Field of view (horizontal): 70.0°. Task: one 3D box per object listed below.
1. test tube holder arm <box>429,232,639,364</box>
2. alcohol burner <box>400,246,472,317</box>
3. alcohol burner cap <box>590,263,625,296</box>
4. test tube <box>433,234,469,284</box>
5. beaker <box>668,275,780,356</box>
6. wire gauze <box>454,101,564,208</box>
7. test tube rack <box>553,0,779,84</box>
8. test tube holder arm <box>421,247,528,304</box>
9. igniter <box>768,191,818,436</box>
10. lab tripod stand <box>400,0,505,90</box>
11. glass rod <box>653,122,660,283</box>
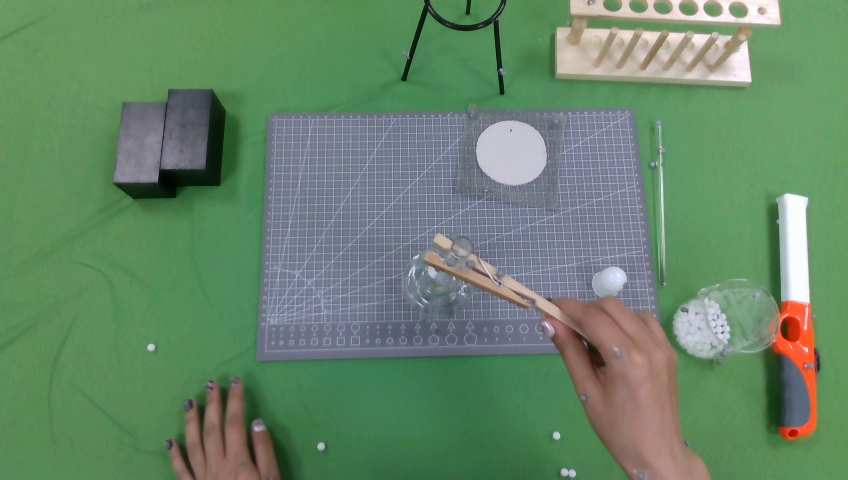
[{"bbox_3d":[0.081,0.043,0.456,0.178,0.015,0.013,30,84,4],"label":"test tube holder arm"},{"bbox_3d":[0.013,0.039,0.635,0.078,0.120,0.077,0,73,1],"label":"alcohol burner"},{"bbox_3d":[0.206,0.042,0.674,0.034,0.048,0.033,0,75,0],"label":"alcohol burner cap"},{"bbox_3d":[0.019,0.018,0.480,0.017,0.150,0.017,1,78,-3],"label":"test tube"},{"bbox_3d":[0.306,0.082,0.639,0.084,0.101,0.074,30,76,8],"label":"beaker"},{"bbox_3d":[0.104,-0.107,0.730,0.125,0.011,0.121,10,76,1],"label":"wire gauze"},{"bbox_3d":[0.285,-0.245,0.733,0.242,0.085,0.066,2,75,0],"label":"test tube rack"},{"bbox_3d":[0.039,0.027,0.458,0.088,0.015,0.010,23,83,3],"label":"test tube holder arm"},{"bbox_3d":[0.412,0.077,0.679,0.057,0.025,0.275,10,75,-9],"label":"igniter"},{"bbox_3d":[0.039,-0.246,0.704,0.148,0.132,0.147,0,77,0],"label":"lab tripod stand"},{"bbox_3d":[0.276,-0.047,0.719,0.008,0.008,0.199,4,77,0],"label":"glass rod"}]
